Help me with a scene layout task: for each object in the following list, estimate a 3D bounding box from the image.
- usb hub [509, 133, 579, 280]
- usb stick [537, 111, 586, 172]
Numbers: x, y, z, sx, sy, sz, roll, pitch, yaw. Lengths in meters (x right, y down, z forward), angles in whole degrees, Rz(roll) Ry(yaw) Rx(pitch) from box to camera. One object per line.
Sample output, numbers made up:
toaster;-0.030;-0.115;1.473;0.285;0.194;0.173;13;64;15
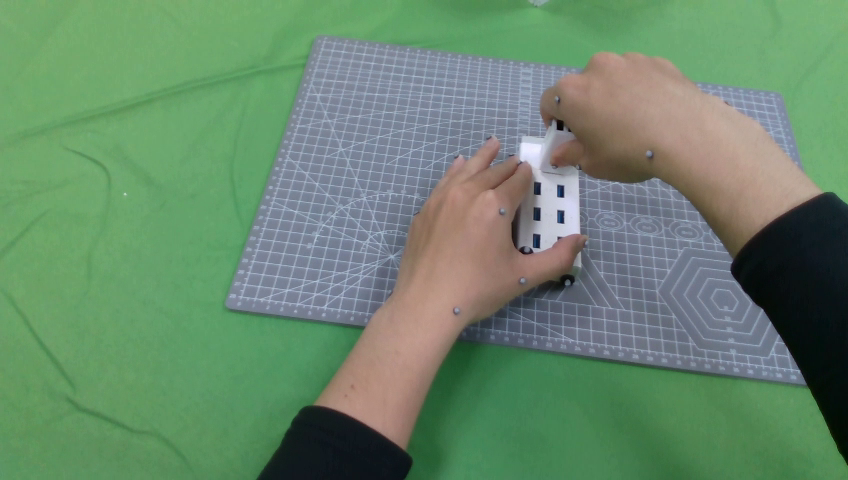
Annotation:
usb hub;0.094;-0.029;0.477;0.049;0.025;0.124;6;57;2
usb stick;0.104;-0.071;0.469;0.027;0.059;0.021;7;58;-1
